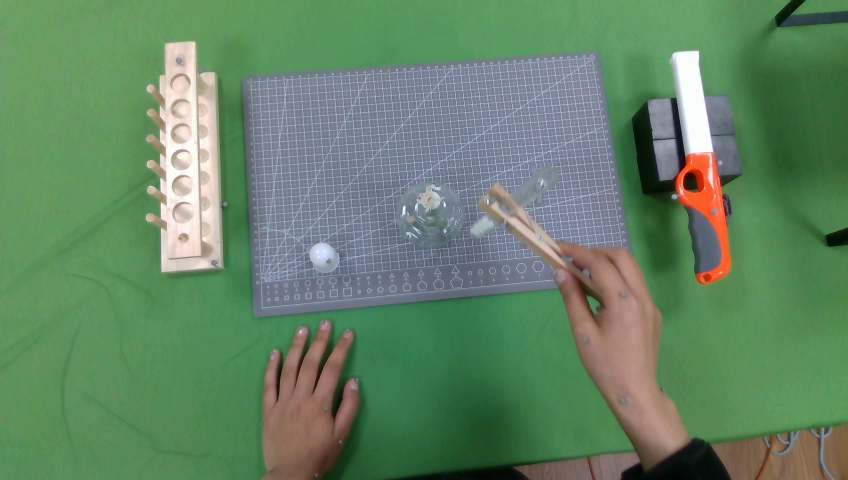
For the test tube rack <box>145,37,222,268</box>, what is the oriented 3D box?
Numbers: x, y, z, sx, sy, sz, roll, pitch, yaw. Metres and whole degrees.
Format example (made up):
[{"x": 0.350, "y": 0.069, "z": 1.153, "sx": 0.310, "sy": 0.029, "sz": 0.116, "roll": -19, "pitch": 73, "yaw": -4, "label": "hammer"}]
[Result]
[{"x": -0.276, "y": -0.095, "z": 0.684, "sx": 0.067, "sy": 0.085, "sz": 0.241, "roll": -5, "pitch": 79, "yaw": -3, "label": "test tube rack"}]

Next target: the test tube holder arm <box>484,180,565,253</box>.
[{"x": 0.088, "y": -0.018, "z": 0.528, "sx": 0.088, "sy": 0.015, "sz": 0.010, "roll": 45, "pitch": 64, "yaw": -5, "label": "test tube holder arm"}]

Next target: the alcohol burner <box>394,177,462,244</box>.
[{"x": 0.005, "y": -0.036, "z": 0.670, "sx": 0.078, "sy": 0.119, "sz": 0.077, "roll": 0, "pitch": 80, "yaw": -1, "label": "alcohol burner"}]

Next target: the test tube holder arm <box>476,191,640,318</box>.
[{"x": 0.119, "y": 0.015, "z": 0.531, "sx": 0.179, "sy": 0.015, "sz": 0.013, "roll": 38, "pitch": 65, "yaw": -8, "label": "test tube holder arm"}]

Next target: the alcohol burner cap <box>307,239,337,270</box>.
[{"x": -0.117, "y": 0.014, "z": 0.690, "sx": 0.034, "sy": 0.048, "sz": 0.033, "roll": 1, "pitch": 78, "yaw": -3, "label": "alcohol burner cap"}]

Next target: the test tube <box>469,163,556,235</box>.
[{"x": 0.070, "y": -0.031, "z": 0.518, "sx": 0.017, "sy": 0.150, "sz": 0.017, "roll": 5, "pitch": 73, "yaw": -17, "label": "test tube"}]

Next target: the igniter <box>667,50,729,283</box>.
[{"x": 0.312, "y": -0.088, "z": 0.695, "sx": 0.057, "sy": 0.025, "sz": 0.275, "roll": -3, "pitch": 78, "yaw": 3, "label": "igniter"}]
